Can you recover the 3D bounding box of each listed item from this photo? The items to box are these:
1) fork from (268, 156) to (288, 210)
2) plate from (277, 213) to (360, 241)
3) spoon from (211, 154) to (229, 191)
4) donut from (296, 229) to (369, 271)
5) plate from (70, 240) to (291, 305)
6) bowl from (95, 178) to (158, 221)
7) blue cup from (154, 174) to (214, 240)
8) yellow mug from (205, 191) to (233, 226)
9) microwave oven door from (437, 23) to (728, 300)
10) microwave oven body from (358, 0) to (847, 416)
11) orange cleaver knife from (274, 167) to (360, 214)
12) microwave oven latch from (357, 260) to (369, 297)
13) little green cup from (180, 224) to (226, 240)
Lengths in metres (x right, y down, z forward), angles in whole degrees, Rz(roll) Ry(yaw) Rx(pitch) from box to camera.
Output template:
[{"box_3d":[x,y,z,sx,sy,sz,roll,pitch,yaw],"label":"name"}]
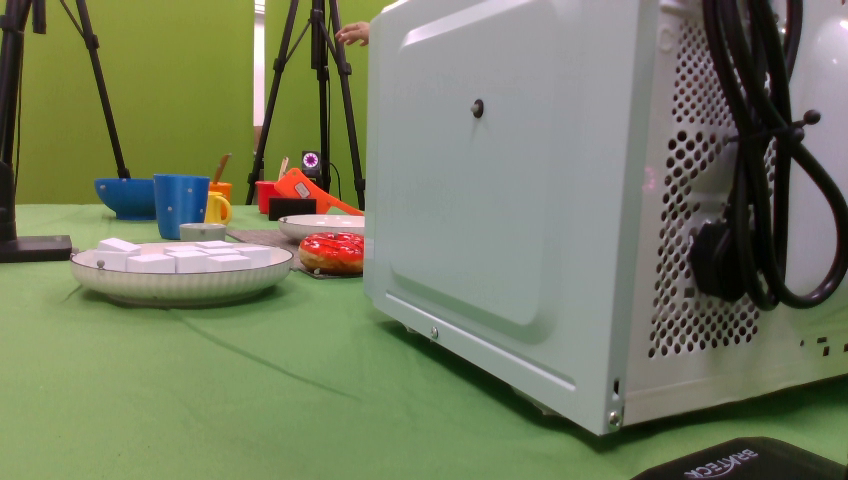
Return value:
[{"box_3d":[-0.360,-0.144,1.508,0.028,0.018,0.207,1,49,0],"label":"fork"},{"box_3d":[-0.135,-0.017,0.992,0.209,0.038,0.209,2,8,0],"label":"plate"},{"box_3d":[-0.431,-0.115,1.253,0.042,0.193,0.021,-3,54,-33],"label":"spoon"},{"box_3d":[-0.106,0.014,0.739,0.099,0.048,0.099,4,8,0],"label":"donut"},{"box_3d":[-0.242,0.031,0.618,0.208,0.039,0.207,2,8,0],"label":"plate"},{"box_3d":[-0.576,-0.081,1.217,0.151,0.077,0.151,3,8,0],"label":"bowl"},{"box_3d":[-0.391,-0.053,0.978,0.093,0.100,0.092,3,6,0],"label":"blue cup"},{"box_3d":[-0.415,-0.057,1.132,0.130,0.064,0.100,6,8,16],"label":"yellow mug"},{"box_3d":[0.181,-0.072,0.621,0.358,0.243,0.039,-2,8,-29],"label":"microwave oven door"},{"box_3d":[0.211,-0.047,0.474,0.444,0.260,0.324,-1,8,-28],"label":"microwave oven body"},{"box_3d":[-0.238,-0.091,1.381,0.212,0.077,0.012,31,2,-19],"label":"orange cleaver knife"},{"box_3d":[-0.019,0.033,0.531,0.079,0.029,0.030,-1,7,-26],"label":"microwave oven latch"},{"box_3d":[-0.309,-0.001,0.846,0.061,0.038,0.061,2,8,0],"label":"little green cup"}]
